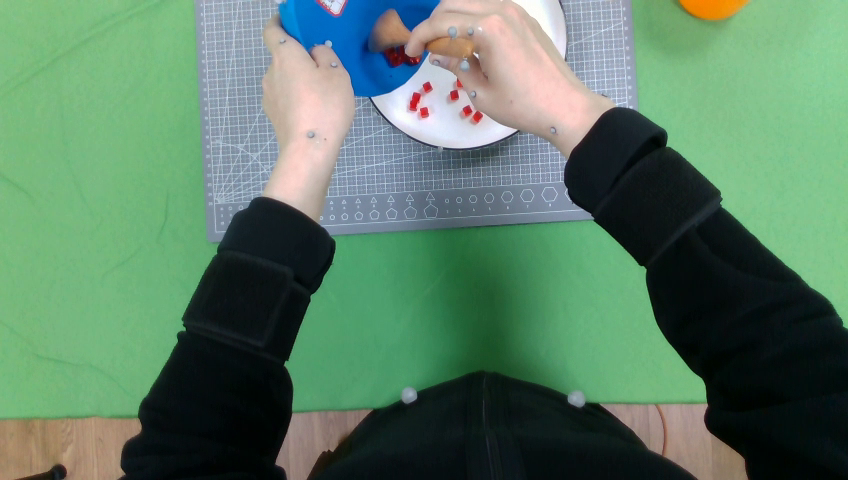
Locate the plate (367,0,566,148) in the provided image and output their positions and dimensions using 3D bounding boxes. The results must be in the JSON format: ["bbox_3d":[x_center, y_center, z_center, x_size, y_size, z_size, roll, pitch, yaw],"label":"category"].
[{"bbox_3d":[0.035,-0.194,0.605,0.209,0.038,0.209,0,89,4],"label":"plate"}]

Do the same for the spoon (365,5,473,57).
[{"bbox_3d":[-0.007,-0.155,0.458,0.022,0.191,0.041,24,99,-34],"label":"spoon"}]

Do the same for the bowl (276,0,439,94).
[{"bbox_3d":[-0.067,-0.203,0.504,0.076,0.153,0.151,26,91,41],"label":"bowl"}]
